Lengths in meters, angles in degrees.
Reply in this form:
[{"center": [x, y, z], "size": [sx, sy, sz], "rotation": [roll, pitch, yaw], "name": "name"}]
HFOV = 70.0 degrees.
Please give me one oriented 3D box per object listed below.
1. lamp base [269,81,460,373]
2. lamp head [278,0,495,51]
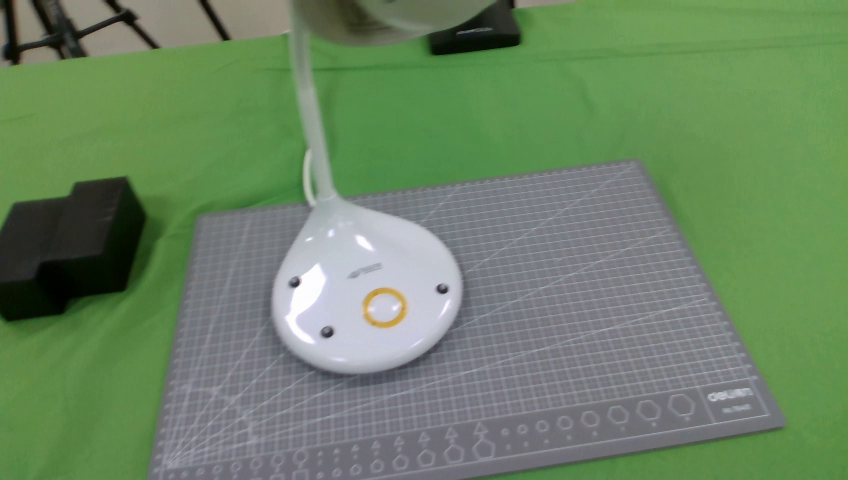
[{"center": [-0.062, -0.017, 0.462], "size": [0.161, 0.182, 0.177], "rotation": [-30, 49, -22], "name": "lamp base"}, {"center": [-0.017, -0.141, 0.202], "size": [0.112, 0.112, 0.122], "rotation": [-23, 80, -17], "name": "lamp head"}]
